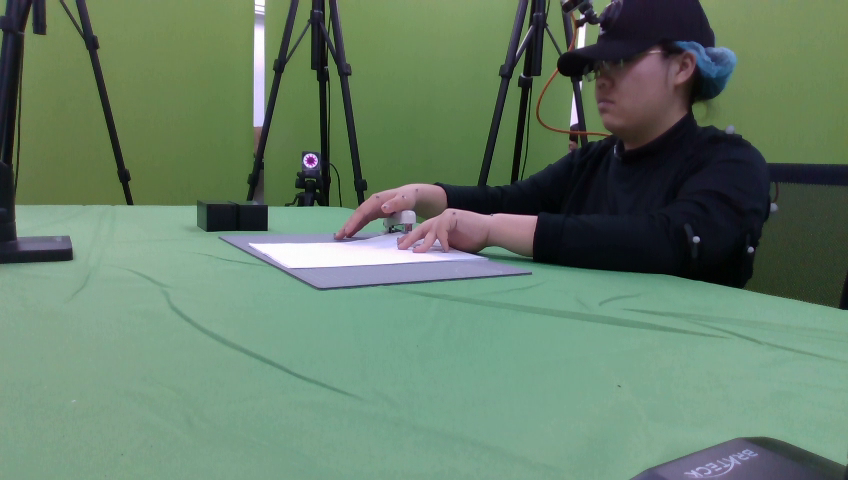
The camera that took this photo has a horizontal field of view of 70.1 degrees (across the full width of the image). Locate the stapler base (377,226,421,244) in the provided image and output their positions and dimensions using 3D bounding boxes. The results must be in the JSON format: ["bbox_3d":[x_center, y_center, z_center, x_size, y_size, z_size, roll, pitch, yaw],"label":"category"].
[{"bbox_3d":[-0.044,-0.011,1.073,0.041,0.024,0.130,3,5,-23],"label":"stapler base"}]

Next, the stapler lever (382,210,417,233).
[{"bbox_3d":[-0.044,-0.036,1.072,0.027,0.040,0.117,3,6,-23],"label":"stapler lever"}]
